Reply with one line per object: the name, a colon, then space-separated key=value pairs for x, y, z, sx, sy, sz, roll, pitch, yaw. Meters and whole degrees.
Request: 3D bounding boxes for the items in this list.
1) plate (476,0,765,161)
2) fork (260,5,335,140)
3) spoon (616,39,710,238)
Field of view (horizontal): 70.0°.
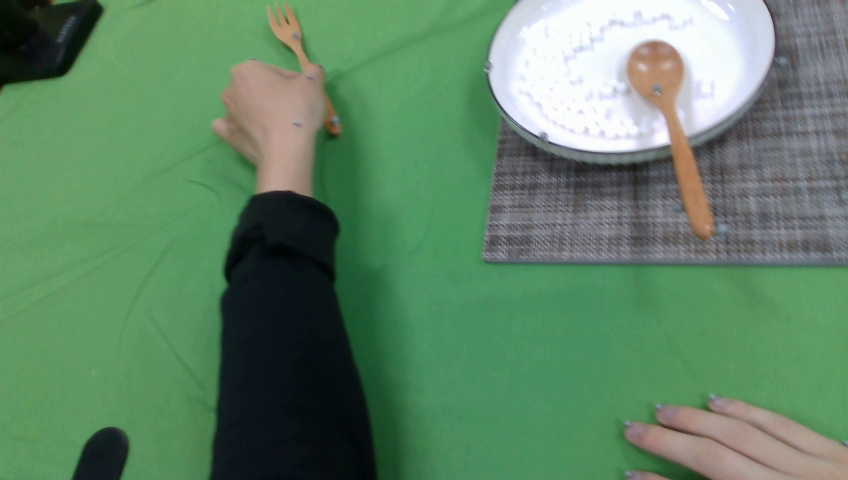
plate: x=0.145 y=-0.142 z=0.471 sx=0.207 sy=0.039 sz=0.206 roll=-8 pitch=59 yaw=14
fork: x=-0.123 y=-0.168 z=0.589 sx=0.028 sy=0.019 sz=0.205 roll=-18 pitch=55 yaw=-16
spoon: x=0.162 y=-0.077 z=0.409 sx=0.041 sy=0.022 sz=0.192 roll=-6 pitch=46 yaw=12
